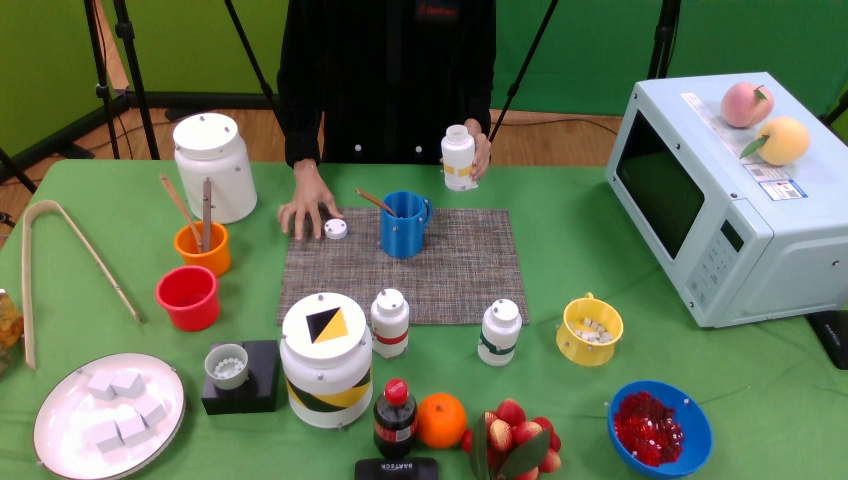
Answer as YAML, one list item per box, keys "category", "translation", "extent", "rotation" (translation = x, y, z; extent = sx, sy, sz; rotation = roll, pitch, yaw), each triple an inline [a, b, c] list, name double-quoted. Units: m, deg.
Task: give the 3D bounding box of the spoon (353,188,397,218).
- category: "spoon"
  translation: [-0.069, -0.053, 1.121]
  extent: [0.021, 0.195, 0.041]
  rotation: [-36, 51, 12]

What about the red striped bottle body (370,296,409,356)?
- category: "red striped bottle body"
  translation: [-0.058, 0.134, 0.997]
  extent: [0.063, 0.120, 0.062]
  rotation: [4, 47, -4]

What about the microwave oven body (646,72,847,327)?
- category: "microwave oven body"
  translation: [0.607, -0.089, 1.164]
  extent: [0.326, 0.261, 0.438]
  rotation: [-7, 46, -10]

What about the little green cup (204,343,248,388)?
- category: "little green cup"
  translation: [-0.294, 0.190, 0.909]
  extent: [0.061, 0.039, 0.061]
  rotation: [1, 48, -1]

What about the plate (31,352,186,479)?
- category: "plate"
  translation: [-0.459, 0.262, 0.898]
  extent: [0.209, 0.038, 0.208]
  rotation: [2, 46, -2]

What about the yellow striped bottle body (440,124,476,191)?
- category: "yellow striped bottle body"
  translation: [0.064, -0.158, 1.147]
  extent: [0.063, 0.121, 0.062]
  rotation: [-4, 41, 4]

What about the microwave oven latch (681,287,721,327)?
- category: "microwave oven latch"
  translation: [0.494, 0.119, 1.087]
  extent: [0.030, 0.029, 0.078]
  rotation: [-6, 46, -9]

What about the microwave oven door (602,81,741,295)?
- category: "microwave oven door"
  translation: [0.456, -0.107, 1.162]
  extent: [0.039, 0.245, 0.353]
  rotation: [-6, 47, -11]

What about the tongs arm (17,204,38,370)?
- category: "tongs arm"
  translation: [-0.698, 0.069, 1.068]
  extent: [0.028, 0.028, 0.385]
  rotation: [-20, 50, -13]

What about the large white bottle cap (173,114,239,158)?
- category: "large white bottle cap"
  translation: [-0.403, -0.195, 1.122]
  extent: [0.115, 0.018, 0.114]
  rotation: [2, 47, -2]

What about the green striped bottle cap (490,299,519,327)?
- category: "green striped bottle cap"
  translation: [0.127, 0.115, 0.958]
  extent: [0.044, 0.020, 0.044]
  rotation: [3, 47, -3]

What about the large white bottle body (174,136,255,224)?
- category: "large white bottle body"
  translation: [-0.408, -0.137, 1.183]
  extent: [0.131, 0.185, 0.130]
  rotation: [2, 46, -2]

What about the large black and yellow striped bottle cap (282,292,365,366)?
- category: "large black and yellow striped bottle cap"
  translation: [-0.138, 0.121, 0.841]
  extent: [0.115, 0.019, 0.114]
  rotation: [3, 47, -3]

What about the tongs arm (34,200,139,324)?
- category: "tongs arm"
  translation: [-0.622, 0.034, 1.105]
  extent: [0.051, 0.026, 0.382]
  rotation: [-32, 55, -26]

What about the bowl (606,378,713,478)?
- category: "bowl"
  translation: [0.340, 0.292, 0.906]
  extent: [0.151, 0.077, 0.150]
  rotation: [2, 46, -2]

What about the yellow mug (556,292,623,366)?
- category: "yellow mug"
  translation: [0.285, 0.145, 1.051]
  extent: [0.100, 0.064, 0.130]
  rotation: [7, 45, 3]

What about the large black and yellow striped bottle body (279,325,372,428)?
- category: "large black and yellow striped bottle body"
  translation: [-0.143, 0.181, 0.900]
  extent: [0.131, 0.185, 0.130]
  rotation: [2, 46, -2]

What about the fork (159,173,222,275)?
- category: "fork"
  translation: [-0.427, -0.029, 1.103]
  extent: [0.028, 0.018, 0.207]
  rotation: [-31, 99, -30]

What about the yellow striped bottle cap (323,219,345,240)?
- category: "yellow striped bottle cap"
  translation: [-0.179, -0.022, 1.205]
  extent: [0.044, 0.019, 0.044]
  rotation: [2, 46, -2]

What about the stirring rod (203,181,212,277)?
- category: "stirring rod"
  translation: [-0.396, -0.021, 1.108]
  extent: [0.014, 0.006, 0.176]
  rotation: [-1, 89, -1]

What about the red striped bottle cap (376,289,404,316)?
- category: "red striped bottle cap"
  translation: [-0.055, 0.098, 0.958]
  extent: [0.044, 0.018, 0.044]
  rotation: [0, 48, 1]

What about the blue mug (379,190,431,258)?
- category: "blue mug"
  translation: [-0.032, -0.037, 1.169]
  extent: [0.116, 0.106, 0.082]
  rotation: [-29, 55, -28]

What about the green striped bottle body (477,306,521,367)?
- category: "green striped bottle body"
  translation: [0.124, 0.151, 0.995]
  extent: [0.063, 0.120, 0.063]
  rotation: [2, 46, -1]
